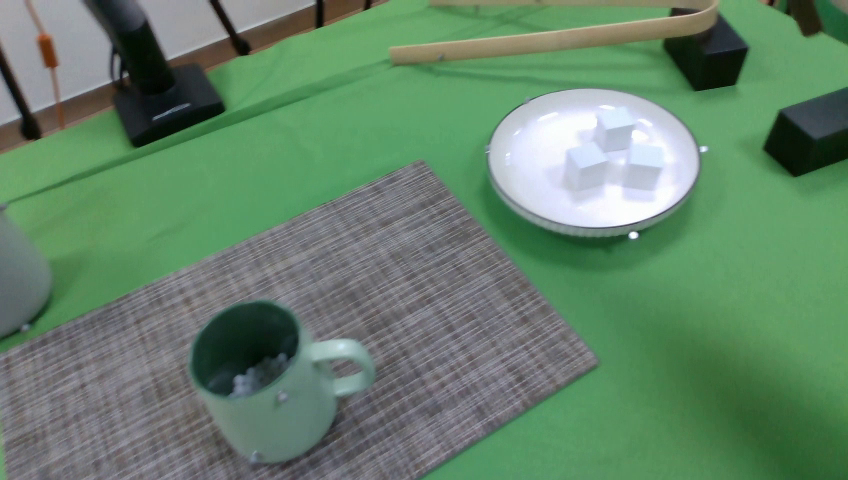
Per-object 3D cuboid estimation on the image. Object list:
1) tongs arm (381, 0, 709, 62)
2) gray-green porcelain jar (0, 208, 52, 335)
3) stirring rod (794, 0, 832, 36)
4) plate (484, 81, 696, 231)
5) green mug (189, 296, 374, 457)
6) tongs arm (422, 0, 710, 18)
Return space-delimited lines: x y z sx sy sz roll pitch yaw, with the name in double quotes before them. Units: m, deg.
"tongs arm" 0.132 -0.246 0.728 0.386 0.028 0.028 -1 44 17
"gray-green porcelain jar" -0.414 0.021 0.545 0.106 0.128 0.105 -3 51 4
"stirring rod" 0.218 -0.206 0.382 0.014 0.177 0.006 -12 31 54
"plate" 0.166 -0.085 0.623 0.207 0.039 0.205 -3 51 4
"green mug" -0.100 0.100 0.454 0.125 0.106 0.091 -9 50 -1
"tongs arm" 0.157 -0.305 0.772 0.382 0.027 0.050 9 51 25
